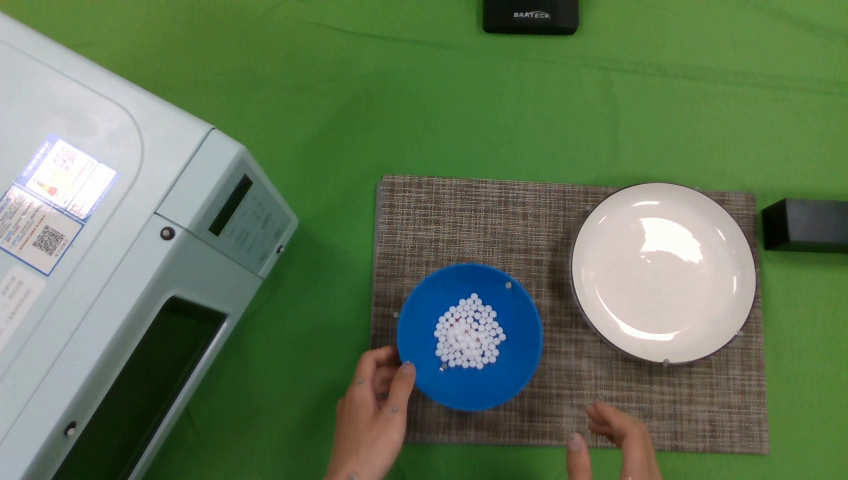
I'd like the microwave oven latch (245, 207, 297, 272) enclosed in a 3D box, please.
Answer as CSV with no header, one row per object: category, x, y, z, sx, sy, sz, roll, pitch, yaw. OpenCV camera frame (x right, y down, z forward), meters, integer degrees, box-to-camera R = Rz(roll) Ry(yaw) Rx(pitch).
microwave oven latch,-0.172,-0.006,0.674,0.030,0.029,0.079,30,80,4

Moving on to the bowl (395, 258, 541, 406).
bowl,0.044,0.100,0.651,0.151,0.077,0.150,0,78,-1

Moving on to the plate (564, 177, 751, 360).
plate,0.261,0.032,0.691,0.208,0.039,0.206,0,78,-1

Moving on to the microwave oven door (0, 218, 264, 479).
microwave oven door,-0.277,0.160,0.534,0.039,0.244,0.355,28,79,6

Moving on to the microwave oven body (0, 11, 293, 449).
microwave oven body,-0.385,0.056,0.558,0.325,0.261,0.440,28,80,4
